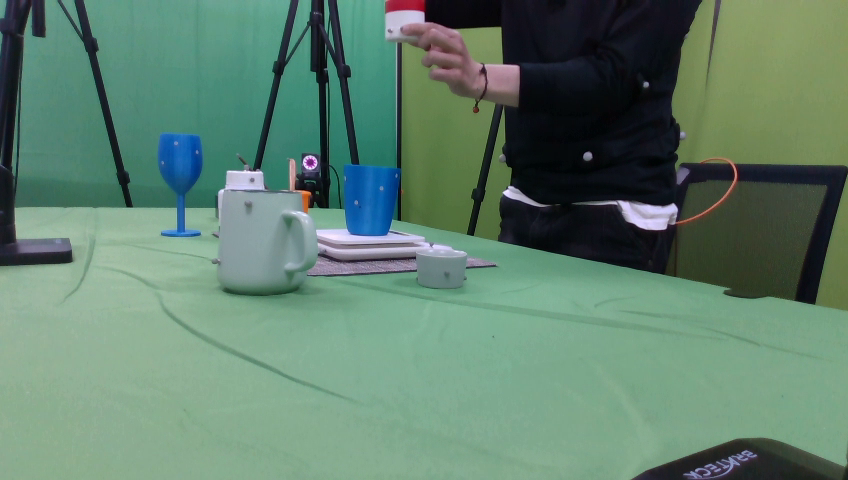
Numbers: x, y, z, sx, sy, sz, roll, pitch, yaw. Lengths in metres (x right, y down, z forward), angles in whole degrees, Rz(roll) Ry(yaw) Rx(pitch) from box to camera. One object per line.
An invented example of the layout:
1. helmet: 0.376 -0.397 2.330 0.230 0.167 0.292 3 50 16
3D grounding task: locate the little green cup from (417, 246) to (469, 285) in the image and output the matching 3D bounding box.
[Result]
1. little green cup: 0.021 0.029 0.701 0.061 0.038 0.061 1 6 0

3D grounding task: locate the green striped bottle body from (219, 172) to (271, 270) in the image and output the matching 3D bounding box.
1. green striped bottle body: -0.223 -0.025 0.755 0.063 0.119 0.063 2 7 0

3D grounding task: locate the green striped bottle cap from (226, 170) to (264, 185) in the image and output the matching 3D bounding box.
1. green striped bottle cap: -0.222 -0.076 0.748 0.044 0.020 0.044 0 7 0

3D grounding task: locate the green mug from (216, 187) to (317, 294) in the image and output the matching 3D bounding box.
1. green mug: -0.157 0.000 0.629 0.124 0.105 0.093 7 9 37

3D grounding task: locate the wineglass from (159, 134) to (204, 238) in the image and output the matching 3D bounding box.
1. wineglass: -0.415 -0.093 1.039 0.074 0.172 0.073 2 7 0

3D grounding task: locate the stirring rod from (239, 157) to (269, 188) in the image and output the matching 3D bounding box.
1. stirring rod: -0.309 -0.098 1.209 0.006 0.177 0.014 -39 29 -4

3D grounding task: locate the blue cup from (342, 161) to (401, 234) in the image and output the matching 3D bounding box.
1. blue cup: -0.079 -0.061 0.882 0.093 0.100 0.092 4 5 0

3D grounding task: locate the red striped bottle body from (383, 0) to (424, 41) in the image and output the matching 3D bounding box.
1. red striped bottle body: -0.033 -0.373 0.934 0.063 0.119 0.063 -1 11 1

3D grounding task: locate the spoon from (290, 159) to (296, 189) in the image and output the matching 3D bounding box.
1. spoon: -0.273 -0.102 1.252 0.042 0.193 0.021 7 -38 -17

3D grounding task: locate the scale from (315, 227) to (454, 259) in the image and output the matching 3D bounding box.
1. scale: -0.066 0.001 0.906 0.202 0.031 0.148 -2 8 -31
